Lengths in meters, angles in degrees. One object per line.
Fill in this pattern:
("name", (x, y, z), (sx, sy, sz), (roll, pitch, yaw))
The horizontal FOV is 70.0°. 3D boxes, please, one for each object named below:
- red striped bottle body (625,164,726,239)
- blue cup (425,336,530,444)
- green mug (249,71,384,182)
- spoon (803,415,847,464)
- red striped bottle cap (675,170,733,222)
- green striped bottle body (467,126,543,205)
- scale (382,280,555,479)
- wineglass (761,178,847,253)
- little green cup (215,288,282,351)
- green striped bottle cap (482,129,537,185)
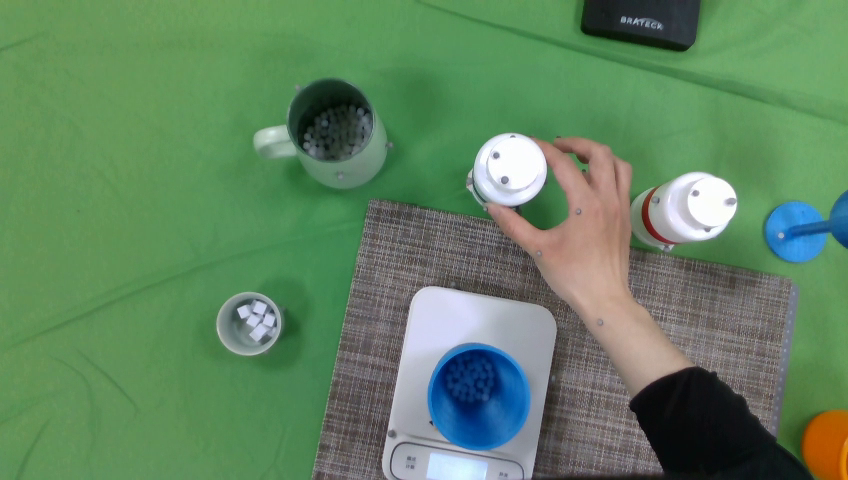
("red striped bottle body", (0.242, -0.035, 0.577), (0.063, 0.120, 0.063), (0, 86, -1))
("blue cup", (0.042, 0.123, 0.538), (0.093, 0.100, 0.092), (0, 89, -1))
("green mug", (-0.103, -0.103, 0.580), (0.125, 0.105, 0.092), (-11, 87, -2))
("spoon", (0.452, 0.222, 0.554), (0.022, 0.192, 0.041), (22, 94, -43))
("red striped bottle cap", (0.242, -0.039, 0.523), (0.044, 0.018, 0.044), (0, 83, -2))
("green striped bottle body", (0.072, -0.066, 0.549), (0.063, 0.119, 0.063), (0, 90, 2))
("scale", (0.044, 0.147, 0.602), (0.149, 0.031, 0.200), (10, 87, -1))
("wineglass", (0.387, -0.024, 0.553), (0.074, 0.172, 0.073), (0, 86, -1))
("little green cup", (-0.170, 0.077, 0.601), (0.061, 0.038, 0.061), (0, 87, -2))
("green striped bottle cap", (0.070, -0.068, 0.493), (0.044, 0.020, 0.044), (0, 89, 0))
